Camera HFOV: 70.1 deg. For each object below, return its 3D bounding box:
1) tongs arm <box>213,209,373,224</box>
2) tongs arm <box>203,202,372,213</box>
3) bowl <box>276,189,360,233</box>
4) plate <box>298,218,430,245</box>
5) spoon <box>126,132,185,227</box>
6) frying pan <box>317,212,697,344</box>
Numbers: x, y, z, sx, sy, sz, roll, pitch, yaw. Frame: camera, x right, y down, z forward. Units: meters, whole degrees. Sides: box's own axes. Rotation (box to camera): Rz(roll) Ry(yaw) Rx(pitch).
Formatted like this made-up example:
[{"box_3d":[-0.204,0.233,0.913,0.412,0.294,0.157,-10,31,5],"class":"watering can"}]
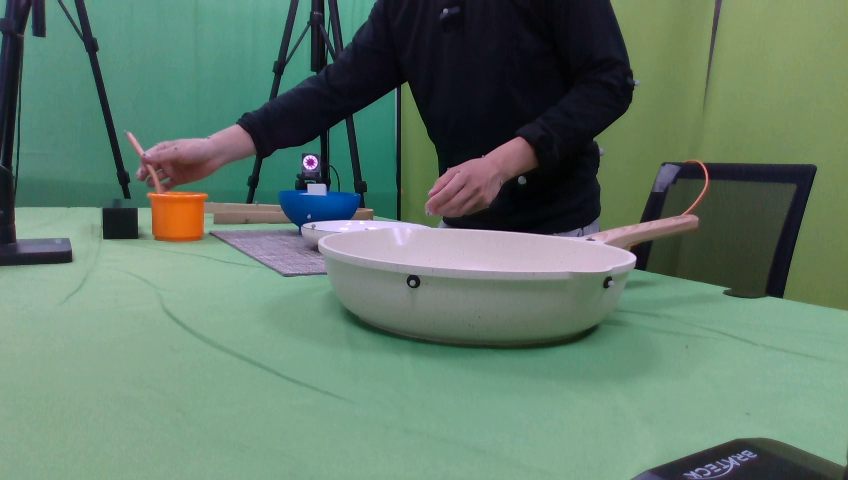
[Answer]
[{"box_3d":[-0.274,-0.053,1.347,0.390,0.028,0.028,-3,7,-37],"class":"tongs arm"},{"box_3d":[-0.312,-0.068,1.417,0.387,0.026,0.050,0,9,-24],"class":"tongs arm"},{"box_3d":[-0.194,-0.052,1.113,0.151,0.077,0.151,2,7,0],"class":"bowl"},{"box_3d":[-0.091,-0.006,0.949,0.208,0.039,0.207,2,7,0],"class":"plate"},{"box_3d":[-0.446,-0.101,1.002,0.021,0.193,0.042,-30,-10,13],"class":"spoon"},{"box_3d":[0.133,0.013,0.629,0.490,0.102,0.305,-12,14,-31],"class":"frying pan"}]
